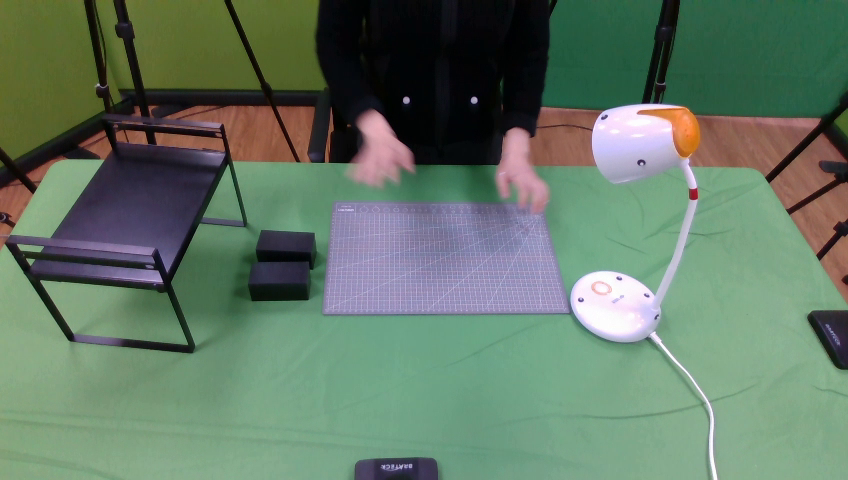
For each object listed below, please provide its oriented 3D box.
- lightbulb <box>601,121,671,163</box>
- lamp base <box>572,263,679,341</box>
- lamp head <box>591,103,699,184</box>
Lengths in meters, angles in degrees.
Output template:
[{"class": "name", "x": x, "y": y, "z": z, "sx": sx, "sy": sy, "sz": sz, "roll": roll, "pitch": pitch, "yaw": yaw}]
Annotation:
[{"class": "lightbulb", "x": 0.301, "y": -0.143, "z": 0.859, "sx": 0.059, "sy": 0.059, "sz": 0.107, "roll": -32, "pitch": 15, "yaw": -29}, {"class": "lamp base", "x": 0.362, "y": 0.071, "z": 1.044, "sx": 0.178, "sy": 0.181, "sz": 0.160, "roll": 38, "pitch": 55, "yaw": 26}, {"class": "lamp head", "x": 0.314, "y": -0.136, "z": 0.839, "sx": 0.112, "sy": 0.113, "sz": 0.122, "roll": -38, "pitch": 24, "yaw": -33}]
